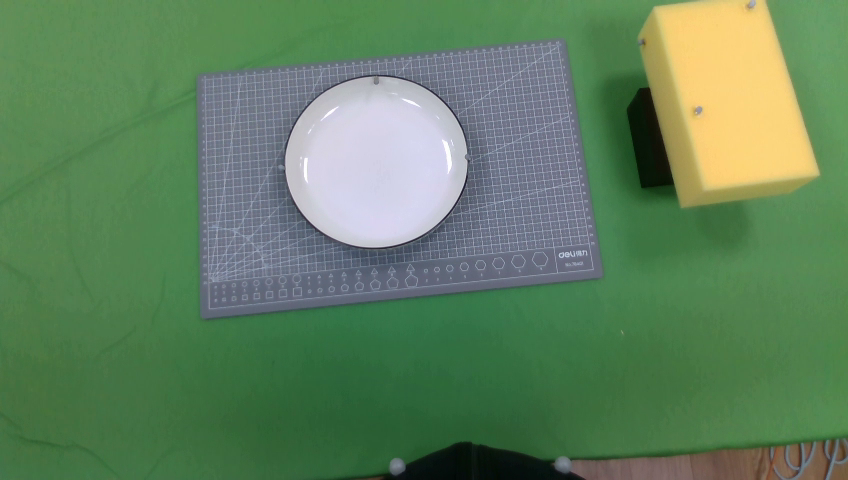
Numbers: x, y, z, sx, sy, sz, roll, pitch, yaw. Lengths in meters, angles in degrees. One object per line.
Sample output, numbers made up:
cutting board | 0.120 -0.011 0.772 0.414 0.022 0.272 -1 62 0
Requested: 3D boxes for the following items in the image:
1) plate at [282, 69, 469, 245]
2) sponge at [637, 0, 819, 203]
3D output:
plate | -0.053 -0.093 0.690 0.209 0.038 0.208 0 77 1
sponge | 0.312 -0.151 0.636 0.118 0.061 0.205 -9 77 -1
